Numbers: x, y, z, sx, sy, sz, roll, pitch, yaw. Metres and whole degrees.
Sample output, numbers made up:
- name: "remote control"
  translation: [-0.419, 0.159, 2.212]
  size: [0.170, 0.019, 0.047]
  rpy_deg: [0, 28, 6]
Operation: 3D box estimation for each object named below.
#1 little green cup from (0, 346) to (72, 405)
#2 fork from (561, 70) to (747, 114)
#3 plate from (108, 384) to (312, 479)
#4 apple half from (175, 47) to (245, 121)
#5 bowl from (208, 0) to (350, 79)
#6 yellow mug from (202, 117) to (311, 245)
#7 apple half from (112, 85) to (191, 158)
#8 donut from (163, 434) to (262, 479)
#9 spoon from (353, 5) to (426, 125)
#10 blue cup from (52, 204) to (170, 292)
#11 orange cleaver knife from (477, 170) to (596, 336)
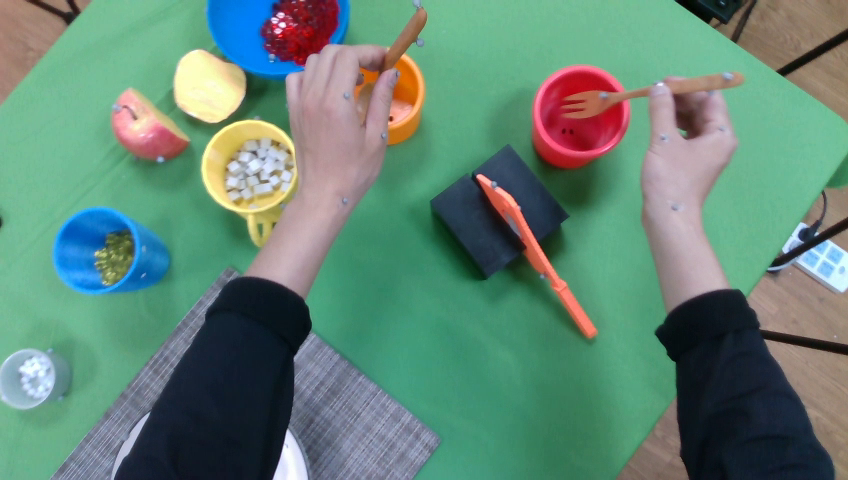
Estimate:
- name: "little green cup"
  translation: [-0.413, 0.144, 0.649]
  size: [0.061, 0.039, 0.061]
  rpy_deg: [0, 82, 2]
- name: "fork"
  translation: [0.201, -0.138, 0.563]
  size: [0.019, 0.206, 0.028]
  rpy_deg: [5, 93, -27]
- name: "plate"
  translation: [-0.217, 0.253, 0.626]
  size: [0.209, 0.038, 0.208]
  rpy_deg: [0, 83, 1]
- name: "apple half"
  translation: [-0.241, -0.174, 0.686]
  size: [0.081, 0.032, 0.081]
  rpy_deg: [0, 96, -2]
- name: "bowl"
  translation: [-0.151, -0.241, 0.670]
  size: [0.151, 0.077, 0.151]
  rpy_deg: [0, 84, 1]
- name: "yellow mug"
  translation: [-0.178, -0.060, 0.654]
  size: [0.100, 0.064, 0.130]
  rpy_deg: [-3, 83, 2]
- name: "apple half"
  translation: [-0.302, -0.120, 0.661]
  size: [0.080, 0.075, 0.053]
  rpy_deg: [44, 90, 3]
- name: "donut"
  translation: [-0.214, 0.247, 0.615]
  size: [0.099, 0.048, 0.099]
  rpy_deg: [0, 85, 2]
- name: "spoon"
  translation: [-0.033, -0.145, 0.523]
  size: [0.022, 0.193, 0.041]
  rpy_deg: [-19, 87, -18]
- name: "blue cup"
  translation: [-0.314, 0.013, 0.631]
  size: [0.092, 0.100, 0.092]
  rpy_deg: [0, 83, 0]
- name: "orange cleaver knife"
  translation: [0.117, 0.016, 0.630]
  size: [0.012, 0.076, 0.213]
  rpy_deg: [-38, 113, -5]
